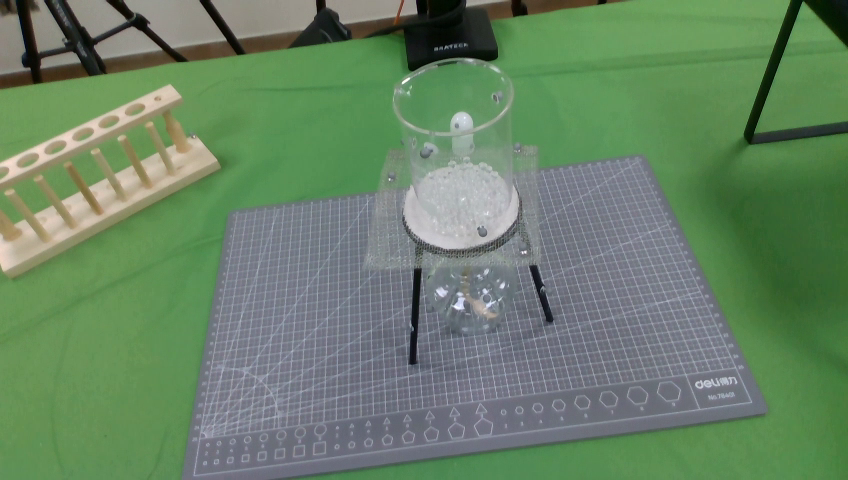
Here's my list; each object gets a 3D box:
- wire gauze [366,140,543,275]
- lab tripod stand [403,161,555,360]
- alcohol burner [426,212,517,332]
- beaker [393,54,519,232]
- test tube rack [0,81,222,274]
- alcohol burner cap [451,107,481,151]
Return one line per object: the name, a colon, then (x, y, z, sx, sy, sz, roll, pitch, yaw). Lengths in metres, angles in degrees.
wire gauze: (0.024, -0.029, 0.443, 0.121, 0.011, 0.124, -1, 54, 9)
lab tripod stand: (0.035, 0.017, 0.489, 0.148, 0.133, 0.147, -4, 52, 5)
alcohol burner: (0.038, 0.023, 0.498, 0.078, 0.120, 0.077, -5, 48, 5)
beaker: (0.022, -0.061, 0.406, 0.083, 0.101, 0.074, 24, 59, 26)
test tube rack: (-0.354, -0.071, 0.652, 0.242, 0.086, 0.066, -33, 54, -19)
alcohol burner cap: (0.046, -0.126, 0.674, 0.034, 0.048, 0.033, -4, 50, 6)
